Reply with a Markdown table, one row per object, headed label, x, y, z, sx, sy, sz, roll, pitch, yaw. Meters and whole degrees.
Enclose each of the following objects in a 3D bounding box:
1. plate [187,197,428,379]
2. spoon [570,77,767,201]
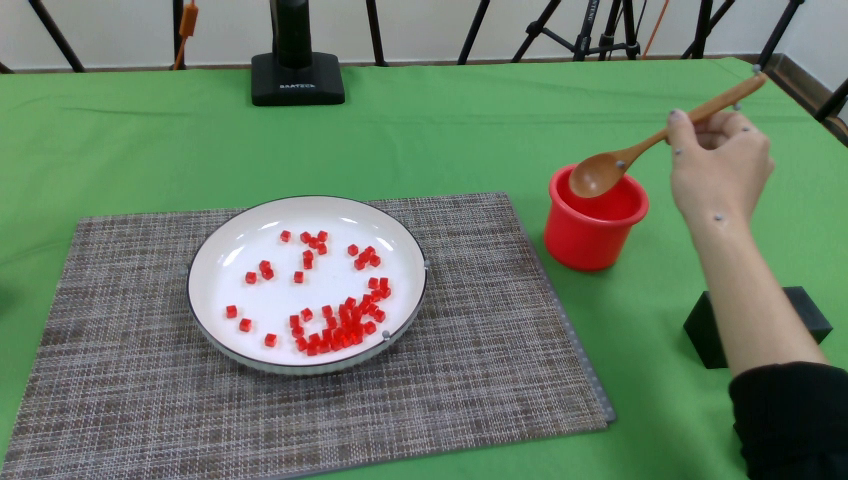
| label | x | y | z | sx | sy | sz | roll | pitch | yaw |
| --- | --- | --- | --- | --- | --- | --- | --- | --- | --- |
| plate | -0.101 | 0.041 | 0.548 | 0.208 | 0.039 | 0.205 | 4 | 43 | -3 |
| spoon | 0.212 | -0.088 | 0.547 | 0.022 | 0.193 | 0.041 | 2 | 66 | -38 |
